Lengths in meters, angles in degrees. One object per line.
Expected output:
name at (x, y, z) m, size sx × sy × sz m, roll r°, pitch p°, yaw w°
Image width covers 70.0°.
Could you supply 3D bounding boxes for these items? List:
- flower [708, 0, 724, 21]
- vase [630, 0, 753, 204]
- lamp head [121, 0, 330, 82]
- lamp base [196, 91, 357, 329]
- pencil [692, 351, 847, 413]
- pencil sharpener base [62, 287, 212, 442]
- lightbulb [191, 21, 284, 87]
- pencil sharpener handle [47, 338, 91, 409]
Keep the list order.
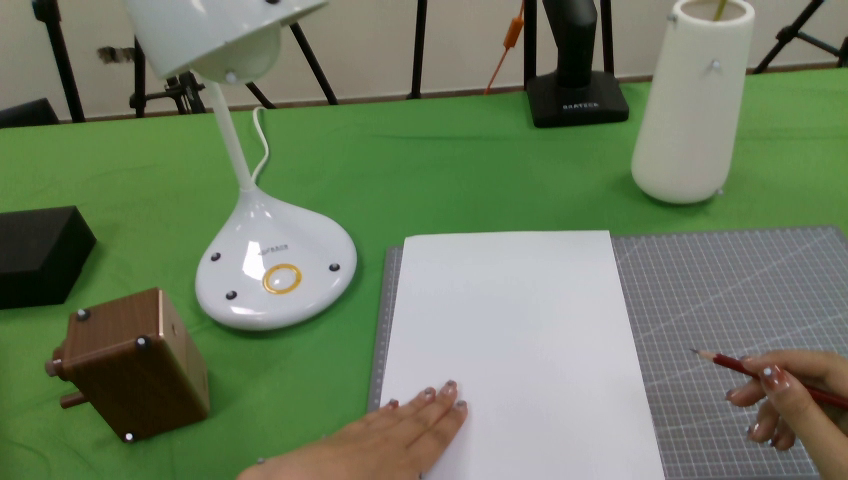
flower at (0.251, -0.181, 0.536) m, size 0.043 × 0.365 × 0.038 m, roll 38°, pitch 71°, yaw 23°
vase at (0.265, -0.134, 0.606) m, size 0.098 × 0.202 × 0.097 m, roll -5°, pitch 41°, yaw 4°
lamp head at (-0.130, -0.166, 0.343) m, size 0.112 × 0.123 × 0.112 m, roll -26°, pitch 16°, yaw 8°
lamp base at (-0.161, -0.036, 0.569) m, size 0.161 × 0.182 × 0.177 m, roll -24°, pitch 42°, yaw -19°
pencil at (0.239, 0.094, 0.342) m, size 0.012 × 0.012 × 0.192 m, roll -31°, pitch 26°, yaw -25°
pencil sharpener base at (-0.223, 0.101, 0.478) m, size 0.077 × 0.108 × 0.060 m, roll -17°, pitch 43°, yaw -10°
lightbulb at (-0.119, -0.142, 0.346) m, size 0.059 × 0.108 × 0.059 m, roll -15°, pitch 19°, yaw 5°
pencil sharpener handle at (-0.272, 0.106, 0.461) m, size 0.031 × 0.068 × 0.035 m, roll -17°, pitch 46°, yaw -10°
